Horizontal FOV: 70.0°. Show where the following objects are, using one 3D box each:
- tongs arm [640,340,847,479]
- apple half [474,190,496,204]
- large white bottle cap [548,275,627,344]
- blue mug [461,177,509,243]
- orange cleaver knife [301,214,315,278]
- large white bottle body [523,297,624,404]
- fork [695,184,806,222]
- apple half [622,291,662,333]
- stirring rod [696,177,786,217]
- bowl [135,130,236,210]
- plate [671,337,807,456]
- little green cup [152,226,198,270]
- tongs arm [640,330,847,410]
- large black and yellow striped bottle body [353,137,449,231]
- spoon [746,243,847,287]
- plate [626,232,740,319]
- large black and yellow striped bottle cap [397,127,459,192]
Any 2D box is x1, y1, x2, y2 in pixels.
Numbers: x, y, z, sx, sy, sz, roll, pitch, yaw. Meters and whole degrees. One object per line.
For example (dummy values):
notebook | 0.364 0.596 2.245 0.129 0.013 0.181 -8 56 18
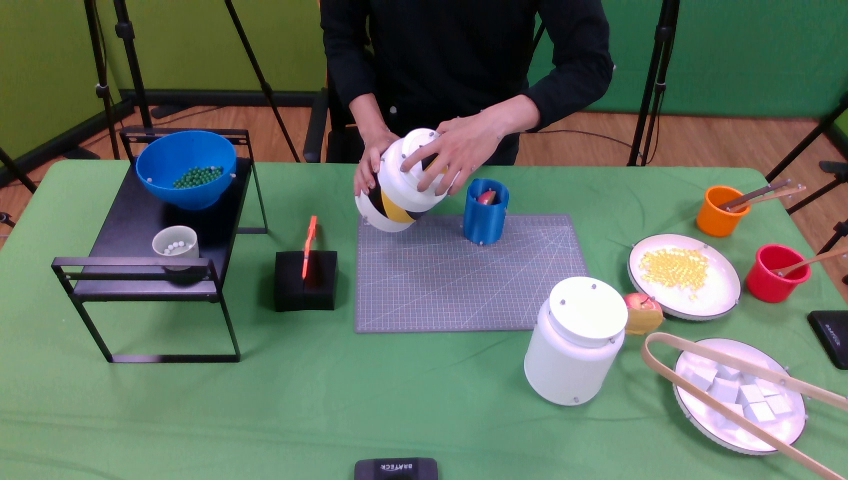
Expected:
tongs arm | 0.500 0.277 0.919 0.386 0.028 0.028 34 59 22
apple half | 0.109 -0.067 1.200 0.032 0.081 0.081 29 51 13
large white bottle cap | 0.240 0.100 0.890 0.115 0.018 0.114 3 47 -3
blue mug | 0.114 -0.069 1.211 0.082 0.106 0.115 -12 48 -15
orange cleaver knife | -0.217 0.007 1.131 0.012 0.077 0.210 7 19 -9
large white bottle body | 0.235 0.159 0.952 0.131 0.185 0.130 2 47 -2
fork | 0.658 -0.074 1.230 0.207 0.019 0.028 -24 34 36
apple half | 0.372 0.123 1.074 0.081 0.075 0.053 0 43 1
stirring rod | 0.648 -0.087 1.244 0.176 0.006 0.014 -25 50 29
bowl | -0.375 -0.102 0.977 0.151 0.077 0.150 2 46 -2
plate | 0.504 0.254 0.984 0.208 0.039 0.206 2 46 -2
little green cup | -0.364 0.013 0.894 0.061 0.039 0.061 3 47 -3
tongs arm | 0.543 0.225 0.969 0.384 0.026 0.050 22 52 13
large black and yellow striped bottle body | -0.034 -0.106 1.094 0.131 0.184 0.130 13 63 -27
spoon | 0.702 0.044 1.126 0.194 0.022 0.041 -29 38 30
plate | 0.488 0.071 1.157 0.209 0.038 0.208 3 46 -3
large black and yellow striped bottle cap | 0.008 -0.137 1.026 0.115 0.019 0.114 13 65 -28
